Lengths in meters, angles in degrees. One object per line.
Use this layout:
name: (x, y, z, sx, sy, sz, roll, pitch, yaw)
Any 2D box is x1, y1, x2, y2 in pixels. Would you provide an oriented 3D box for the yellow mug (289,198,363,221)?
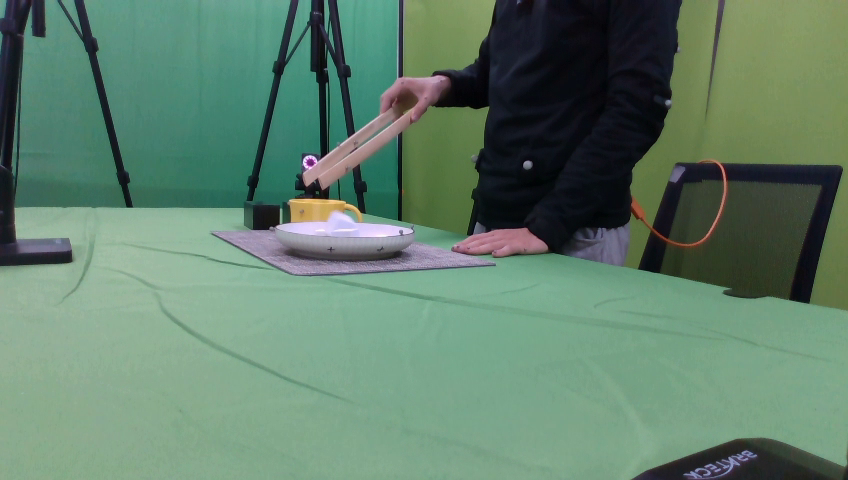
yellow mug: (-0.174, -0.039, 1.071, 0.131, 0.064, 0.100, 3, 6, 1)

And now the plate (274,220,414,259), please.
plate: (-0.118, -0.001, 0.903, 0.208, 0.039, 0.207, 3, 7, 0)

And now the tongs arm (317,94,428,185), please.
tongs arm: (-0.083, -0.198, 1.136, 0.028, 0.028, 0.388, 1, 31, 33)

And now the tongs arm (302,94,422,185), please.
tongs arm: (-0.103, -0.200, 1.148, 0.050, 0.026, 0.385, 2, 32, 27)
